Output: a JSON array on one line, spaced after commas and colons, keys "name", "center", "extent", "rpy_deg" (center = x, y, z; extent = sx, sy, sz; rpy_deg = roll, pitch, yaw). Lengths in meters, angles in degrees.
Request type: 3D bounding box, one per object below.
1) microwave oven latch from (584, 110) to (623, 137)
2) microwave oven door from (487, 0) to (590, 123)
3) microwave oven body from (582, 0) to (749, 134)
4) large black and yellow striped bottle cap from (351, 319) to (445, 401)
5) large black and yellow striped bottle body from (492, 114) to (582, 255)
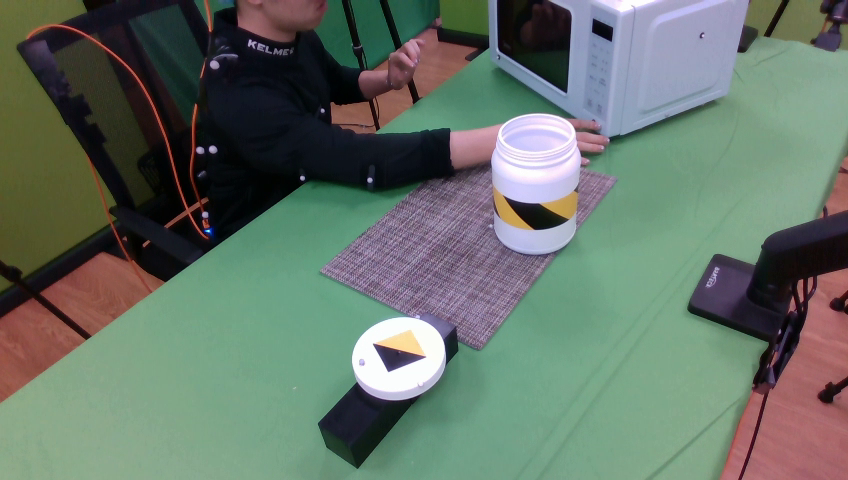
[{"name": "microwave oven latch", "center": [0.337, -0.222, 1.142], "extent": [0.030, 0.029, 0.078], "rpy_deg": [-21, 42, -15]}, {"name": "microwave oven door", "center": [0.232, -0.420, 1.231], "extent": [0.039, 0.245, 0.352], "rpy_deg": [-22, 43, -16]}, {"name": "microwave oven body", "center": [0.382, -0.444, 1.246], "extent": [0.327, 0.261, 0.437], "rpy_deg": [-22, 42, -16]}, {"name": "large black and yellow striped bottle cap", "center": [-0.031, 0.143, 0.735], "extent": [0.115, 0.019, 0.114], "rpy_deg": [-3, 40, 3]}, {"name": "large black and yellow striped bottle body", "center": [0.169, -0.084, 0.912], "extent": [0.131, 0.185, 0.130], "rpy_deg": [-4, 41, 4]}]
